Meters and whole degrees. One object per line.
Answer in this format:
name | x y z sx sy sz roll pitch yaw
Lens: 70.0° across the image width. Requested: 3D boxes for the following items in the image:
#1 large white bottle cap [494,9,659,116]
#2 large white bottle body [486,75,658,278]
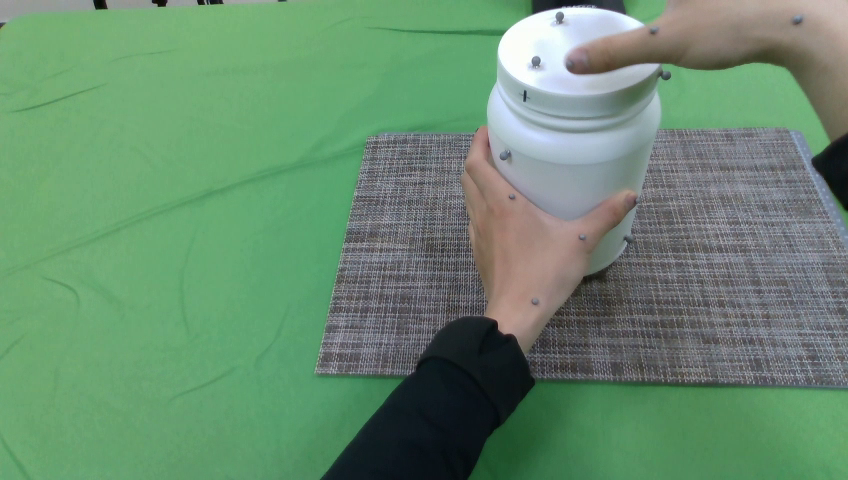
large white bottle cap | 0.108 -0.130 0.433 0.115 0.018 0.113 -3 48 3
large white bottle body | 0.115 -0.071 0.499 0.130 0.186 0.129 -3 49 3
